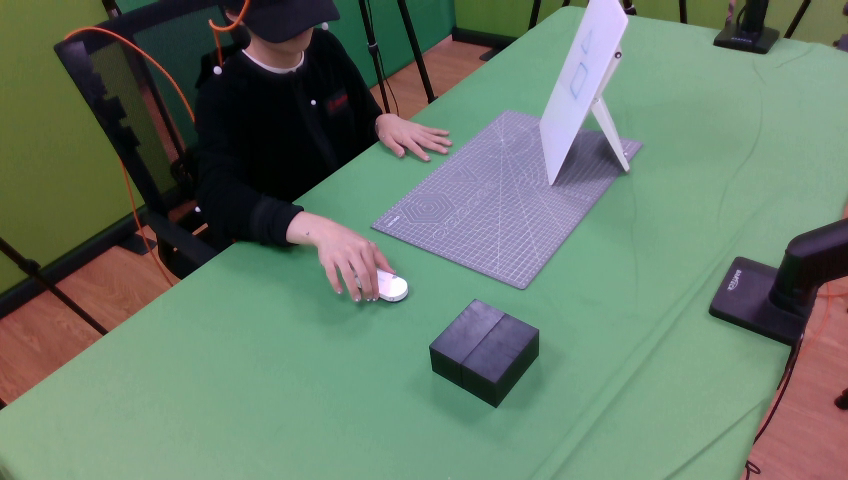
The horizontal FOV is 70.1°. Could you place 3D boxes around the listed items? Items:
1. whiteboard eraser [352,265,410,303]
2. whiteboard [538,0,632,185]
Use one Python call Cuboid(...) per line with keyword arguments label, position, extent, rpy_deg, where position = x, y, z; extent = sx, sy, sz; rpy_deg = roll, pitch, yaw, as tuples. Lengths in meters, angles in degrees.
Cuboid(label="whiteboard eraser", position=(-0.066, 0.065, 0.914), extent=(0.100, 0.019, 0.041), rpy_deg=(21, 49, 31))
Cuboid(label="whiteboard", position=(0.327, -0.259, 1.055), extent=(0.144, 0.305, 0.216), rpy_deg=(13, 40, -6))
